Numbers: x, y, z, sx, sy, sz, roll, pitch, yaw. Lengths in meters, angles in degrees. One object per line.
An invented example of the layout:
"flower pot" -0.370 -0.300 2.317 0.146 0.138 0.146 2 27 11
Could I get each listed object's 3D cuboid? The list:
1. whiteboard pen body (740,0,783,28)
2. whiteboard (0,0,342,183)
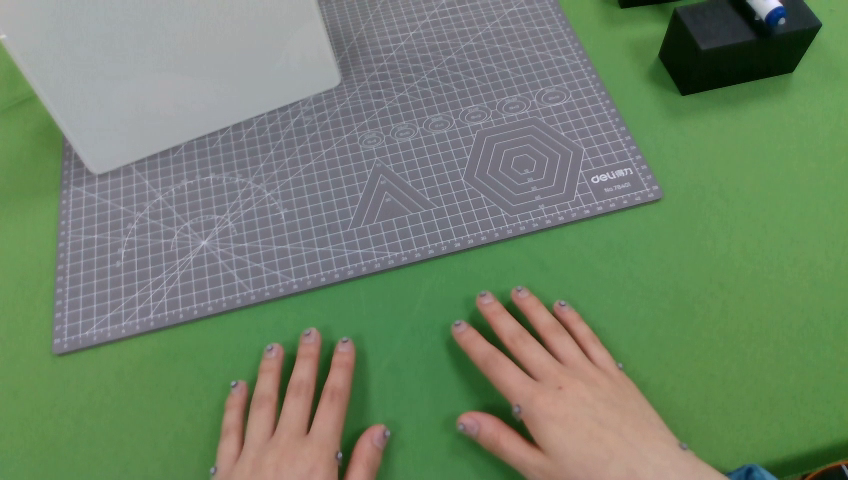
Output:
"whiteboard pen body" 0.244 -0.220 0.491 0.017 0.017 0.139 -18 60 -6
"whiteboard" -0.221 -0.237 0.452 0.217 0.308 0.142 -23 42 -9
